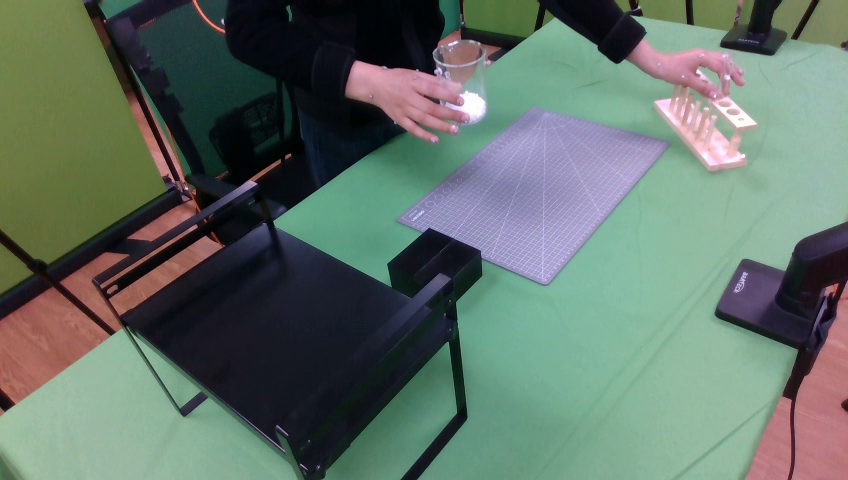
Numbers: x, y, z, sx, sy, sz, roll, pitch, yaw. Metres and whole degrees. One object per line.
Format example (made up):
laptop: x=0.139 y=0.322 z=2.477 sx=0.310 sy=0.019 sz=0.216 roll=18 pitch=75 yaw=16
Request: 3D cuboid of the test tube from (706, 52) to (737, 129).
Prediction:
test tube: x=0.527 y=-0.261 z=1.075 sx=0.017 sy=0.151 sz=0.017 roll=-2 pitch=44 yaw=3

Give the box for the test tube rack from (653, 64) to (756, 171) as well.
test tube rack: x=0.510 y=-0.233 z=1.120 sx=0.067 sy=0.085 sz=0.241 roll=-9 pitch=41 yaw=-1

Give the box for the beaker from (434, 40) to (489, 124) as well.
beaker: x=0.055 y=-0.227 z=0.875 sx=0.074 sy=0.101 sz=0.083 roll=-22 pitch=45 yaw=-13
